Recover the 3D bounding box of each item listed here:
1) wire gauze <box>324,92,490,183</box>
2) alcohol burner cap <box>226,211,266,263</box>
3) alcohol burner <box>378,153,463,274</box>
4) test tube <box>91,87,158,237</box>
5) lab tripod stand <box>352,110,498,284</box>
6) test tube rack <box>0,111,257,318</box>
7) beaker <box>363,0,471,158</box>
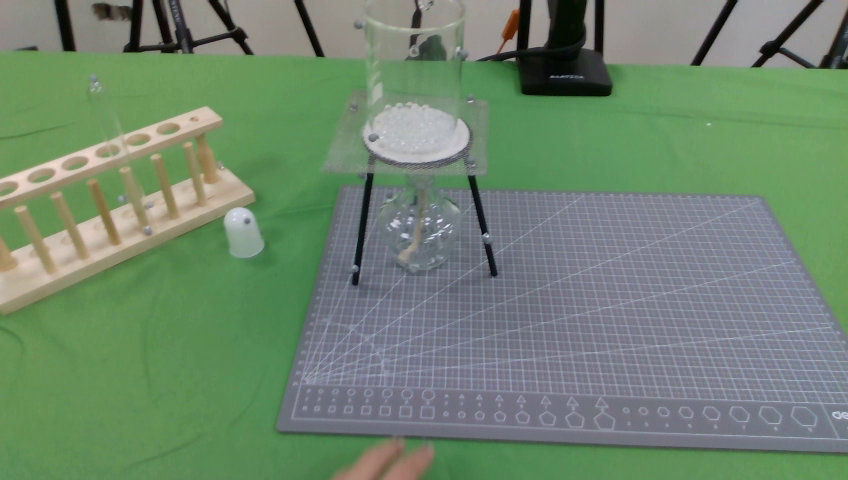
[{"bbox_3d":[-0.008,-0.083,0.484,0.121,0.011,0.124,4,43,3],"label":"wire gauze"},{"bbox_3d":[-0.169,-0.006,0.570,0.034,0.048,0.033,1,42,0],"label":"alcohol burner cap"},{"bbox_3d":[-0.003,-0.027,0.536,0.078,0.120,0.077,1,43,-1],"label":"alcohol burner"},{"bbox_3d":[-0.262,-0.064,0.535,0.017,0.151,0.017,1,40,0],"label":"test tube"},{"bbox_3d":[0.000,-0.034,0.529,0.148,0.132,0.147,1,40,-1],"label":"lab tripod stand"},{"bbox_3d":[-0.287,-0.032,0.566,0.242,0.086,0.066,-30,49,-30],"label":"test tube rack"},{"bbox_3d":[-0.005,-0.121,0.453,0.074,0.101,0.083,10,41,8],"label":"beaker"}]
